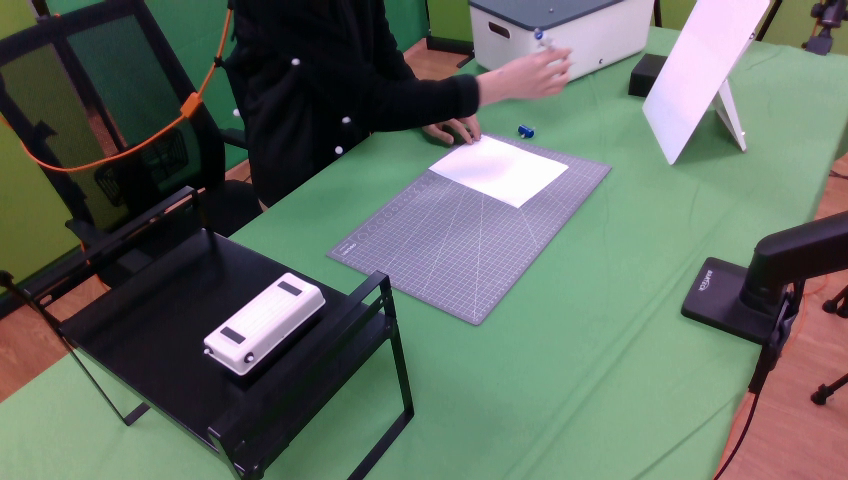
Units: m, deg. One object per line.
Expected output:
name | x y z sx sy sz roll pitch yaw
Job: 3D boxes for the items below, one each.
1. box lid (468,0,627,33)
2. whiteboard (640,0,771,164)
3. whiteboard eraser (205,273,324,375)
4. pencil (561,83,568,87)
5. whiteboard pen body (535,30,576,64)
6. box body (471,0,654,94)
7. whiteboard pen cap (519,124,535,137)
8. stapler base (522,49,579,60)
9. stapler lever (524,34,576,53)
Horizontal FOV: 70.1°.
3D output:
box lid | 0.312 -0.554 1.358 0.373 0.015 0.261 -26 44 -20
whiteboard | 0.543 -0.299 1.076 0.144 0.305 0.216 12 40 -7
whiteboard eraser | -0.157 0.084 0.605 0.055 0.042 0.113 24 49 30
pencil | 0.248 -0.393 1.398 0.193 0.012 0.012 31 53 24
whiteboard pen body | 0.227 -0.323 1.024 0.017 0.017 0.142 32 14 37
box body | 0.319 -0.498 1.405 0.365 0.161 0.252 -26 43 -21
whiteboard pen cap | 0.206 -0.218 1.205 0.018 0.018 0.033 -28 45 -22
stapler base | 0.300 -0.441 1.433 0.130 0.024 0.041 3 22 18
stapler lever | 0.297 -0.463 1.424 0.117 0.040 0.027 5 23 17
